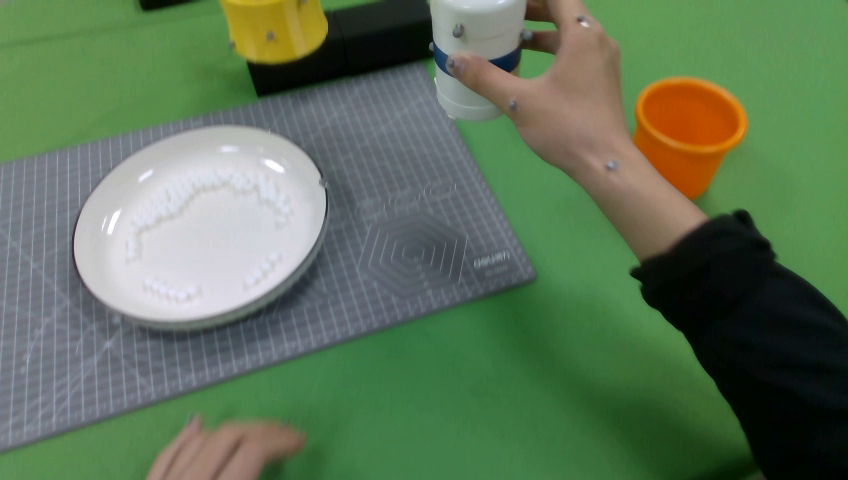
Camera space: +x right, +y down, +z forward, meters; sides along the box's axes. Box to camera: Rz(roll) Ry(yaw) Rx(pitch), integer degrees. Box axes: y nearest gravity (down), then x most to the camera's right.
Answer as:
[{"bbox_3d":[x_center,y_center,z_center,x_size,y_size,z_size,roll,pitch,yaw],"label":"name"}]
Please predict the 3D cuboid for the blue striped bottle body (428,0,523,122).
[{"bbox_3d":[0.036,-0.145,0.417,0.063,0.122,0.062,-2,57,4],"label":"blue striped bottle body"}]

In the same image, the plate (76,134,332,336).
[{"bbox_3d":[-0.180,-0.006,0.517,0.208,0.039,0.205,0,53,1],"label":"plate"}]

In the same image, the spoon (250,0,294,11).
[{"bbox_3d":[-0.108,-0.235,0.568,0.193,0.022,0.041,-11,42,35],"label":"spoon"}]

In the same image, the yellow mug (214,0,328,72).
[{"bbox_3d":[-0.164,-0.231,0.607,0.130,0.064,0.099,25,58,21],"label":"yellow mug"}]
